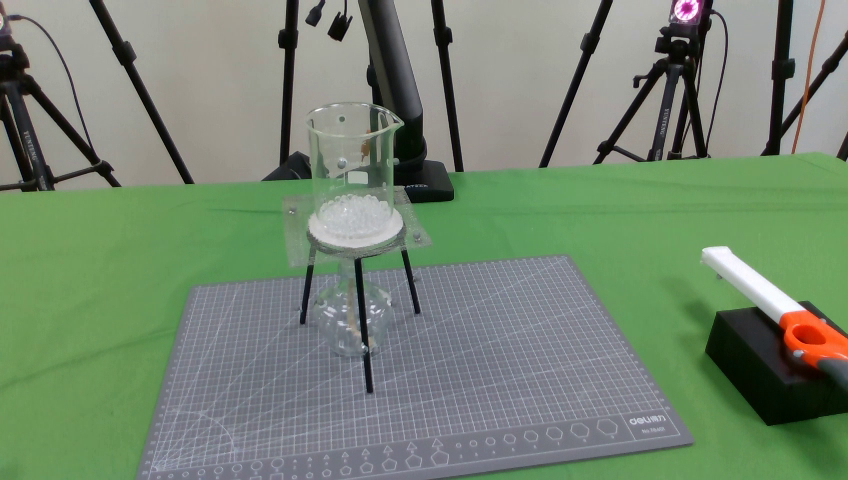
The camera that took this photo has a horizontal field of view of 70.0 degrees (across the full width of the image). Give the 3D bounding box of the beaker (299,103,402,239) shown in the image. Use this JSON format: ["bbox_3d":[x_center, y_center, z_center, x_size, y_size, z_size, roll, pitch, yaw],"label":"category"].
[{"bbox_3d":[-0.061,-0.058,0.524,0.084,0.101,0.073,-6,35,-11],"label":"beaker"}]

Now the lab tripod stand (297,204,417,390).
[{"bbox_3d":[-0.061,0.046,0.575,0.148,0.132,0.147,2,32,-1],"label":"lab tripod stand"}]

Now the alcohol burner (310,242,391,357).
[{"bbox_3d":[-0.070,0.053,0.581,0.078,0.120,0.077,2,31,-1],"label":"alcohol burner"}]

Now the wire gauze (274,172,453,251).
[{"bbox_3d":[-0.056,-0.026,0.536,0.125,0.011,0.120,-14,33,-32],"label":"wire gauze"}]

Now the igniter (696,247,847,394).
[{"bbox_3d":[0.337,0.078,0.548,0.057,0.025,0.273,-4,28,-9],"label":"igniter"}]
